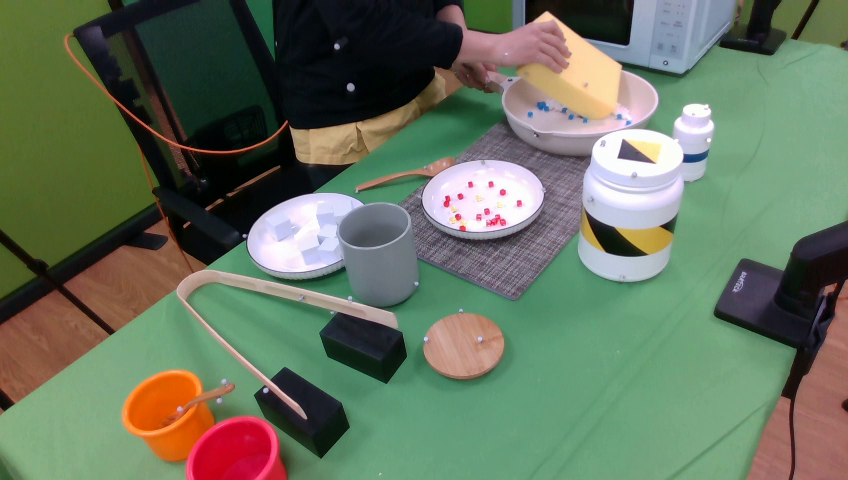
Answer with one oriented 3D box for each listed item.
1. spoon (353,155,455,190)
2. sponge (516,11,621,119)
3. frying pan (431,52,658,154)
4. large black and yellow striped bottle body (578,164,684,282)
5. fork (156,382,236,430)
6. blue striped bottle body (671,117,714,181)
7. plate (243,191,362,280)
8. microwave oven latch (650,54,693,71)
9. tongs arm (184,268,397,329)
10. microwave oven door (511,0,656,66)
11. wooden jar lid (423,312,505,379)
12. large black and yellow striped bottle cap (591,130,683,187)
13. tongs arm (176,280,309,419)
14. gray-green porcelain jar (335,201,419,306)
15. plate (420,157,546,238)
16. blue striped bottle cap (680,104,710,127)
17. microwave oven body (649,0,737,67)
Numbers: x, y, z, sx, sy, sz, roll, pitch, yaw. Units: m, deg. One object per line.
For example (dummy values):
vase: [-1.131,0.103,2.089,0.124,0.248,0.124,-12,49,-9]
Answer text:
spoon: [-0.038,-0.123,1.116,0.194,0.022,0.041,-12,58,-4]
sponge: [0.286,-0.335,1.183,0.208,0.060,0.118,26,63,-25]
frying pan: [0.216,-0.302,1.223,0.484,0.103,0.308,29,49,24]
large black and yellow striped bottle body: [0.292,-0.046,0.859,0.131,0.185,0.130,-4,41,4]
fork: [-0.262,0.189,0.690,0.018,0.206,0.028,49,43,-7]
blue striped bottle body: [0.449,-0.165,1.022,0.063,0.121,0.063,-5,41,4]
plate: [-0.188,-0.005,0.992,0.207,0.039,0.206,-4,41,4]
microwave oven latch: [0.531,-0.386,1.301,0.078,0.029,0.030,26,51,33]
tongs arm: [-0.202,0.084,0.848,0.382,0.027,0.051,11,45,35]
microwave oven door: [0.351,-0.540,1.349,0.353,0.245,0.039,24,50,31]
wooden jar lid: [0.053,0.142,0.800,0.108,0.021,0.108,-5,39,4]
large black and yellow striped bottle cap: [0.282,-0.111,0.803,0.115,0.019,0.114,-3,41,3]
tongs arm: [-0.254,0.133,0.801,0.028,0.028,0.384,-41,41,-23]
gray-green porcelain jar: [-0.064,0.024,0.872,0.106,0.127,0.105,-4,41,4]
plate: [0.099,-0.067,1.017,0.209,0.038,0.208,-4,40,4]
blue striped bottle cap: [0.443,-0.205,0.989,0.044,0.021,0.044,-1,41,2]
microwave oven body: [0.475,-0.602,1.411,0.438,0.261,0.327,23,50,32]
